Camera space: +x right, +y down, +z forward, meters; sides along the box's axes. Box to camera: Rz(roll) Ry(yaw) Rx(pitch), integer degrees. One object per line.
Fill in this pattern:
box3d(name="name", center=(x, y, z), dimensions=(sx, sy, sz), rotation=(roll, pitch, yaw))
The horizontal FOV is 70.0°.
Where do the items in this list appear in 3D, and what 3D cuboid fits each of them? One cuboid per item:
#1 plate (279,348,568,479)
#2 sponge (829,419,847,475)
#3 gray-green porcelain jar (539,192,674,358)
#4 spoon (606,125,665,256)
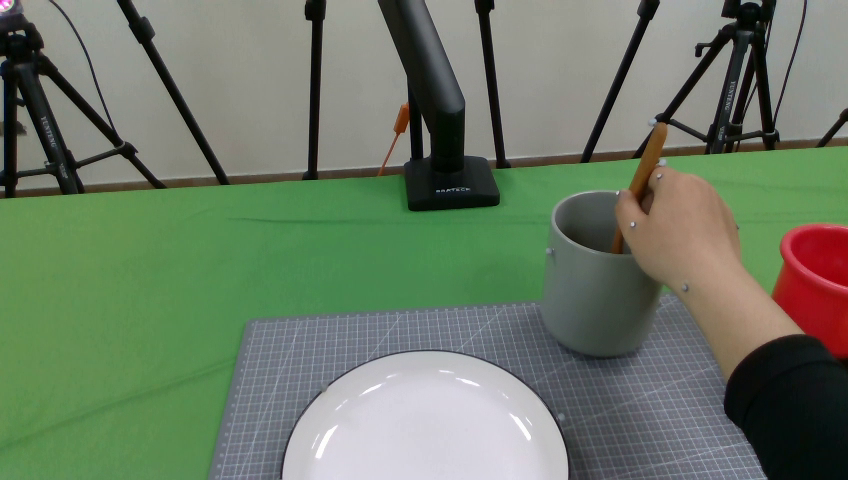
box3d(name="plate", center=(0.000, 0.167, 0.452), dimensions=(0.208, 0.039, 0.205), rotation=(-1, 35, 1))
box3d(name="sponge", center=(0.390, 0.195, 0.386), dimensions=(0.118, 0.061, 0.204), rotation=(-6, 35, -7))
box3d(name="gray-green porcelain jar", center=(0.161, 0.036, 0.556), dimensions=(0.106, 0.127, 0.105), rotation=(-1, 36, 1))
box3d(name="spoon", center=(0.171, -0.010, 0.518), dimensions=(0.022, 0.195, 0.041), rotation=(-11, 43, -15))
